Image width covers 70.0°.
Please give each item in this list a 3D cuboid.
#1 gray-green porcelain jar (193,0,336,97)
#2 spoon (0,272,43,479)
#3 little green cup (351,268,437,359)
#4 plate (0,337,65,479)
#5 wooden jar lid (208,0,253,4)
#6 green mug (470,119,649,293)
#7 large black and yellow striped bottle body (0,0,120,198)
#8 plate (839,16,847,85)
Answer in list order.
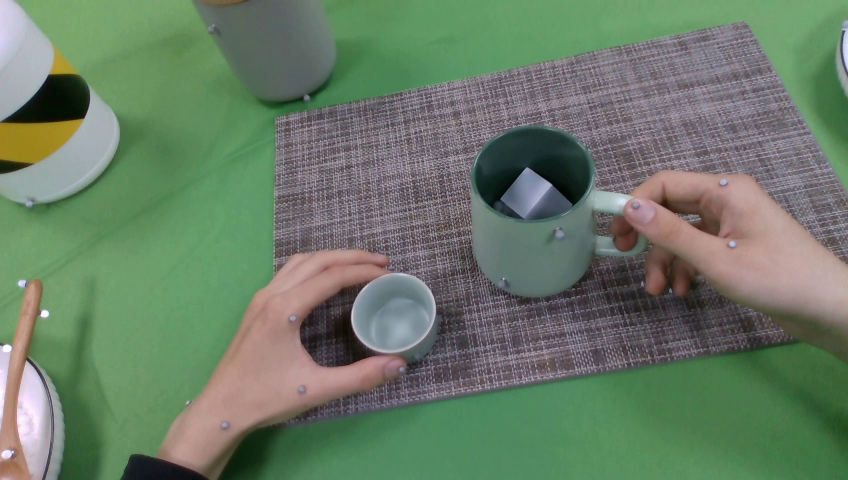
[{"bbox_3d":[-0.145,-0.207,0.565,0.106,0.127,0.105,-4,60,8],"label":"gray-green porcelain jar"},{"bbox_3d":[-0.300,0.111,0.445,0.041,0.022,0.192,-8,68,3],"label":"spoon"},{"bbox_3d":[-0.020,0.056,0.441,0.061,0.039,0.061,-4,62,8],"label":"little green cup"},{"bbox_3d":[-0.355,0.171,0.439,0.209,0.038,0.207,-4,60,8],"label":"plate"},{"bbox_3d":[-0.155,-0.239,0.512,0.108,0.021,0.107,-4,63,7],"label":"wooden jar lid"},{"bbox_3d":[0.092,-0.018,0.424,0.125,0.106,0.092,10,62,15],"label":"green mug"},{"bbox_3d":[-0.379,-0.137,0.531,0.130,0.186,0.129,-4,60,8],"label":"large black and yellow striped bottle body"},{"bbox_3d":[0.436,-0.135,0.472,0.207,0.039,0.206,-4,60,8],"label":"plate"}]
